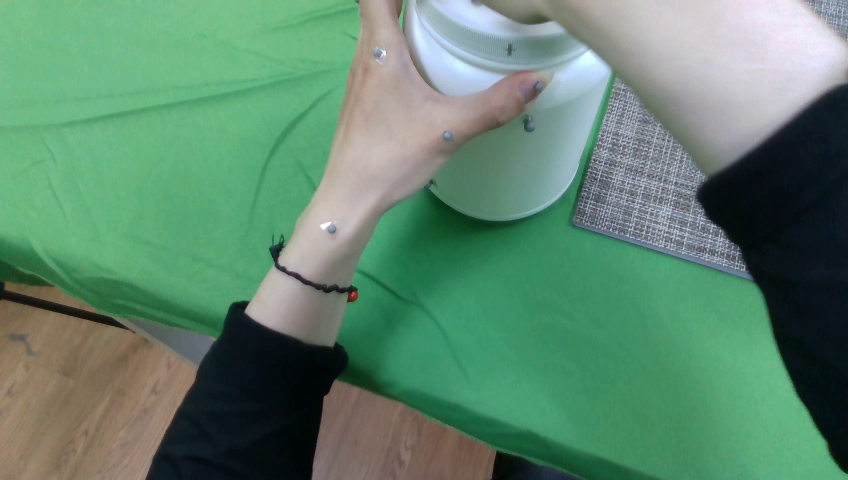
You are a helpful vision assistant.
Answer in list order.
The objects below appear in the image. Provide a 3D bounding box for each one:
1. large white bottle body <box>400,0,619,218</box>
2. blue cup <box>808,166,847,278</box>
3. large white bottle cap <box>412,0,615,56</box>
[{"bbox_3d":[0.051,-0.110,0.402,0.130,0.186,0.129,-1,65,2],"label":"large white bottle body"},{"bbox_3d":[0.307,-0.020,0.395,0.092,0.101,0.092,-1,64,3],"label":"blue cup"},{"bbox_3d":[0.048,-0.147,0.326,0.115,0.018,0.114,0,65,1],"label":"large white bottle cap"}]
